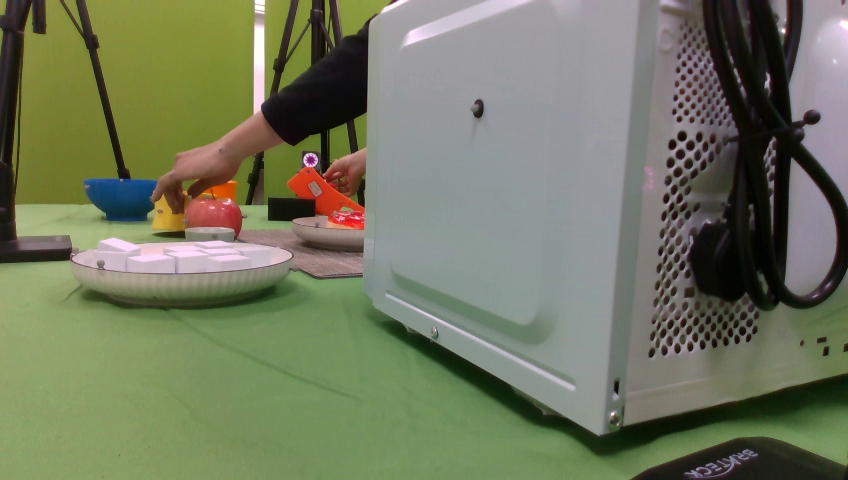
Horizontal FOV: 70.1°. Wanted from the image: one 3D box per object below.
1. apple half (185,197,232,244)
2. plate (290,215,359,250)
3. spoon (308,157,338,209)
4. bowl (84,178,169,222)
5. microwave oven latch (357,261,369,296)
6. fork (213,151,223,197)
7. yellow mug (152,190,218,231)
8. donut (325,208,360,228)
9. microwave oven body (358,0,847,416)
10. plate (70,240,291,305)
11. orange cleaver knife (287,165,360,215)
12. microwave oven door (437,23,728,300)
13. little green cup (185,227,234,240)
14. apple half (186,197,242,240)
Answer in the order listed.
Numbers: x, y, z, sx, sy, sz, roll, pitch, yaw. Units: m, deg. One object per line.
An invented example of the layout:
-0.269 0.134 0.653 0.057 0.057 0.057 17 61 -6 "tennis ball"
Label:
-0.337 -0.031 0.928 0.032 0.081 0.082 12 12 37 "apple half"
-0.110 -0.013 0.974 0.209 0.038 0.209 3 8 0 "plate"
-0.257 -0.149 1.570 0.041 0.193 0.022 -2 -38 23 "spoon"
-0.584 -0.078 1.194 0.151 0.077 0.151 3 8 0 "bowl"
-0.019 0.033 0.532 0.079 0.029 0.030 -1 8 -29 "microwave oven latch"
-0.494 -0.143 1.442 0.028 0.018 0.206 -3 52 -19 "fork"
-0.396 -0.048 1.009 0.100 0.064 0.130 3 0 -25 "yellow mug"
-0.111 -0.025 0.974 0.099 0.048 0.099 5 8 0 "donut"
0.211 -0.047 0.474 0.444 0.260 0.324 -1 7 -28 "microwave oven body"
-0.242 0.031 0.618 0.208 0.039 0.207 2 8 0 "plate"
-0.211 -0.093 1.382 0.212 0.077 0.012 33 1 -15 "orange cleaver knife"
0.181 -0.073 0.621 0.358 0.243 0.039 -2 8 -29 "microwave oven door"
-0.285 0.005 0.805 0.061 0.038 0.061 2 8 0 "little green cup"
-0.306 -0.026 0.904 0.053 0.074 0.081 14 9 37 "apple half"
